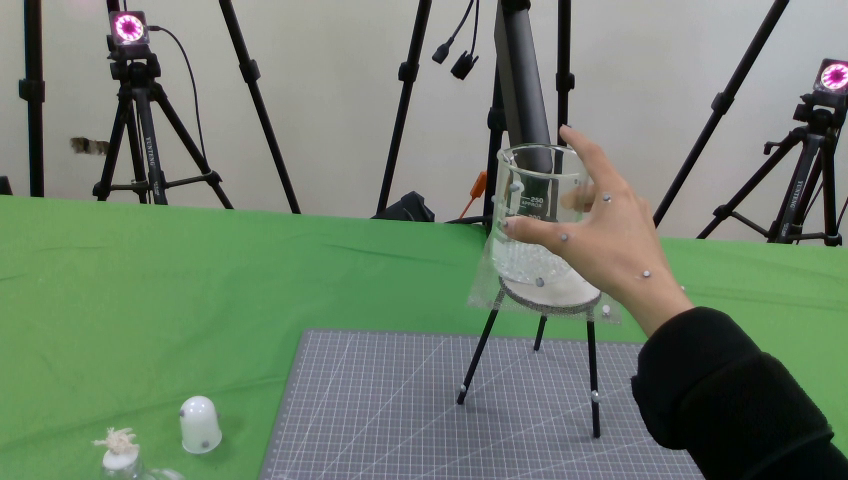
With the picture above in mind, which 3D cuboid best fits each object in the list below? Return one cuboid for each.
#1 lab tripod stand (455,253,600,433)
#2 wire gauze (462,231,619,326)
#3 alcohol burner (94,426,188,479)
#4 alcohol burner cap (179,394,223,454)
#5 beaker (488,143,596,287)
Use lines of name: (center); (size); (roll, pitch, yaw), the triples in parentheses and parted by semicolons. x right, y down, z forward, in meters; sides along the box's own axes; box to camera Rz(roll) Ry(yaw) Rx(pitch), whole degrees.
lab tripod stand: (0.107, 0.091, 0.556); (0.148, 0.132, 0.147); (5, 29, -2)
wire gauze: (0.105, 0.032, 0.524); (0.121, 0.011, 0.124); (11, 30, 10)
alcohol burner: (-0.194, 0.171, 0.400); (0.078, 0.120, 0.077); (1, 29, 0)
alcohol burner cap: (-0.189, 0.152, 0.510); (0.034, 0.048, 0.033); (3, 29, -1)
beaker: (0.088, -0.020, 0.489); (0.074, 0.101, 0.083); (-19, 35, -37)
